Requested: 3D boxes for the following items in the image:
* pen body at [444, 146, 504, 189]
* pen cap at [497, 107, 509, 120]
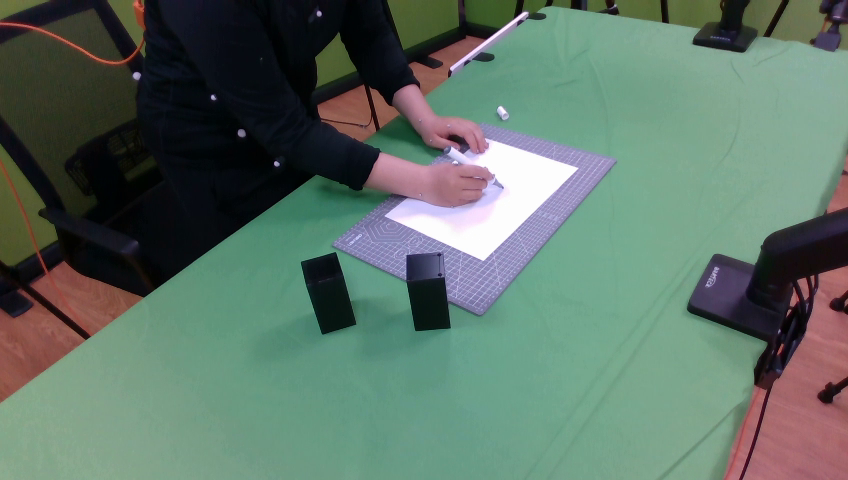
[{"bbox_3d":[0.088,-0.119,1.027,0.017,0.145,0.017,-31,45,37],"label":"pen body"},{"bbox_3d":[0.164,-0.264,1.262,0.017,0.017,0.038,-14,41,-7],"label":"pen cap"}]
